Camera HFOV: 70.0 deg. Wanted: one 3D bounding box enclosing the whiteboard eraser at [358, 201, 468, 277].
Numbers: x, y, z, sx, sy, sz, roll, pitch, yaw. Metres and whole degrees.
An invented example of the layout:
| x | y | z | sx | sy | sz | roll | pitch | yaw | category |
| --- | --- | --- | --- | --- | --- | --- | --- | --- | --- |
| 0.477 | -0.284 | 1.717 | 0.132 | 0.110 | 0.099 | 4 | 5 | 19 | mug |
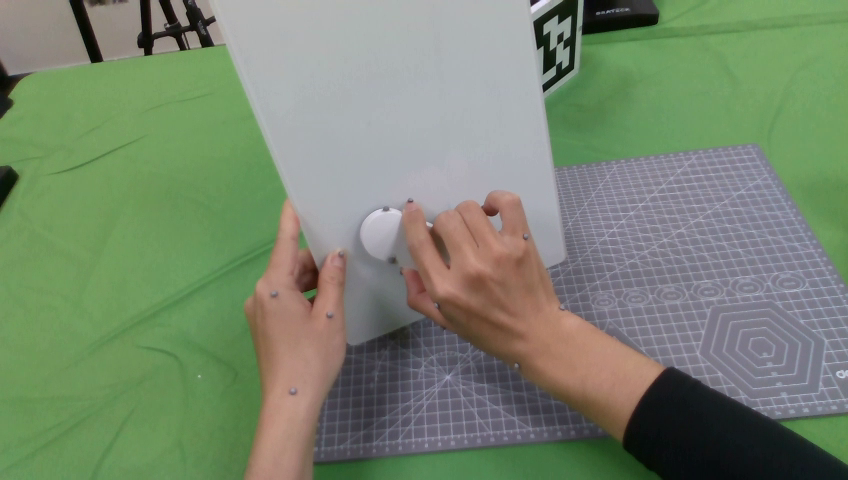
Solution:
| x | y | z | sx | sy | sz | roll | pitch | yaw | category |
| --- | --- | --- | --- | --- | --- | --- | --- | --- | --- |
| -0.008 | 0.000 | 0.494 | 0.041 | 0.102 | 0.018 | -61 | 31 | 8 | whiteboard eraser |

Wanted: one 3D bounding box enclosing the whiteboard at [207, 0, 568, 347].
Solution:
| x | y | z | sx | sy | sz | roll | pitch | yaw | category |
| --- | --- | --- | --- | --- | --- | --- | --- | --- | --- |
| -0.023 | -0.102 | 0.523 | 0.217 | 0.308 | 0.142 | -22 | 30 | -9 | whiteboard |
